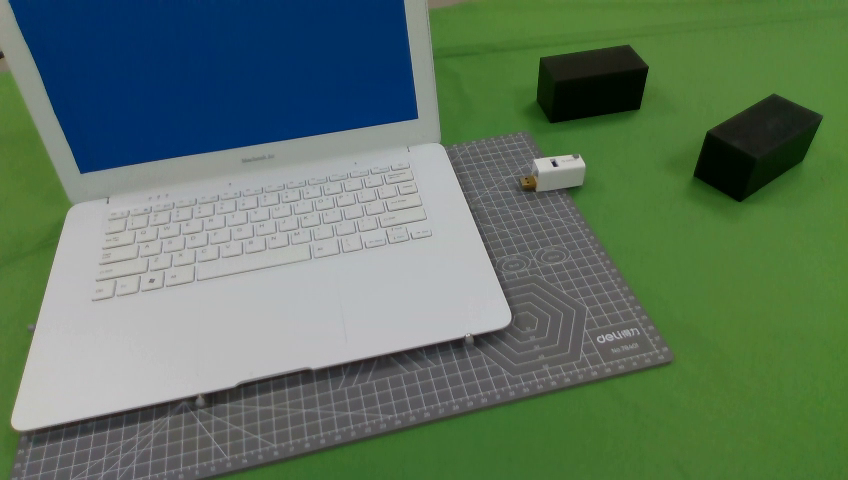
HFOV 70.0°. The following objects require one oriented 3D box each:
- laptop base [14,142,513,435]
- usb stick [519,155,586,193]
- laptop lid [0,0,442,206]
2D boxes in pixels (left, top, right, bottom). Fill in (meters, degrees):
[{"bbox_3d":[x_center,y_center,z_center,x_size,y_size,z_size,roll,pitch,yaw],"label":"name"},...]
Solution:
[{"bbox_3d":[-0.128,0.021,0.505,0.355,0.023,0.233,-11,48,-7],"label":"laptop base"},{"bbox_3d":[0.117,-0.060,0.560,0.059,0.027,0.021,-10,44,-2],"label":"usb stick"},{"bbox_3d":[-0.166,-0.160,0.527,0.357,0.244,0.013,-12,31,-6],"label":"laptop lid"}]
